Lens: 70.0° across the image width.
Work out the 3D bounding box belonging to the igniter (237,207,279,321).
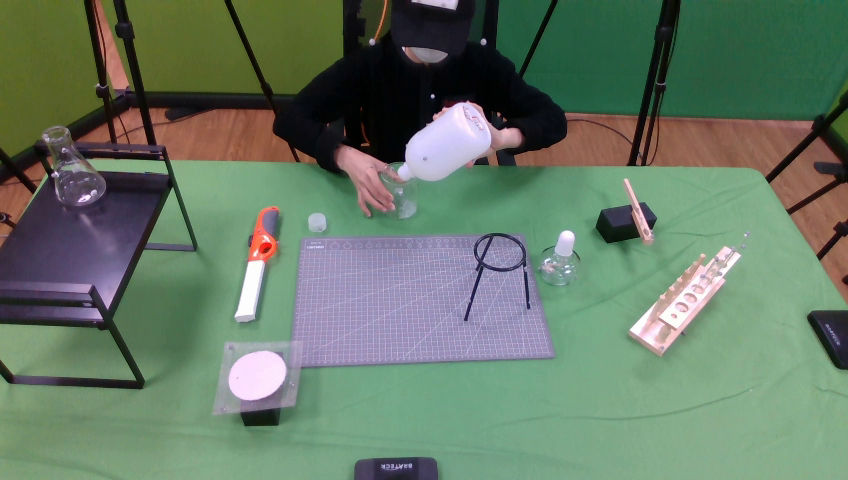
[{"bbox_3d":[-0.309,0.036,1.136,0.057,0.025,0.274,-7,45,5],"label":"igniter"}]

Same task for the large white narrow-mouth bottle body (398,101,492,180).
[{"bbox_3d":[0.027,-0.172,1.149,0.102,0.194,0.101,34,40,-34],"label":"large white narrow-mouth bottle body"}]

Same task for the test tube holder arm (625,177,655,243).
[{"bbox_3d":[0.433,-0.063,1.220,0.013,0.015,0.177,1,47,-3],"label":"test tube holder arm"}]

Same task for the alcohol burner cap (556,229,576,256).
[{"bbox_3d":[0.260,0.002,1.098,0.034,0.048,0.033,3,40,-2],"label":"alcohol burner cap"}]

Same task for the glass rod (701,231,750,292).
[{"bbox_3d":[0.519,0.045,1.050,0.008,0.201,0.008,0,55,0],"label":"glass rod"}]

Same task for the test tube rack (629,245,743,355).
[{"bbox_3d":[0.474,0.095,1.091,0.242,0.085,0.066,-34,56,-31],"label":"test tube rack"}]

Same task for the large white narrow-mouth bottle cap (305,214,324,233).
[{"bbox_3d":[-0.219,-0.033,1.214,0.038,0.024,0.037,2,46,-2],"label":"large white narrow-mouth bottle cap"}]

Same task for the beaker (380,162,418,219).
[{"bbox_3d":[-0.045,-0.099,1.233,0.084,0.101,0.073,-15,47,-15],"label":"beaker"}]

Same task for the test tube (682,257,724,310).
[{"bbox_3d":[0.475,0.080,1.037,0.017,0.151,0.017,2,51,-2],"label":"test tube"}]

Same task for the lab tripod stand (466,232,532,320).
[{"bbox_3d":[0.125,0.059,1.065,0.148,0.132,0.147,1,45,0],"label":"lab tripod stand"}]

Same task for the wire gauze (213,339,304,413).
[{"bbox_3d":[-0.250,0.203,0.924,0.121,0.011,0.124,-1,46,-3],"label":"wire gauze"}]

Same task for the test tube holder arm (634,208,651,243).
[{"bbox_3d":[0.428,-0.030,1.189,0.010,0.015,0.087,1,47,-2],"label":"test tube holder arm"}]

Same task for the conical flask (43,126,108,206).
[{"bbox_3d":[-0.555,-0.119,0.953,0.075,0.122,0.075,2,46,-2],"label":"conical flask"}]

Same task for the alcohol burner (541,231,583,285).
[{"bbox_3d":[0.258,0.028,1.123,0.078,0.120,0.077,1,48,-1],"label":"alcohol burner"}]
